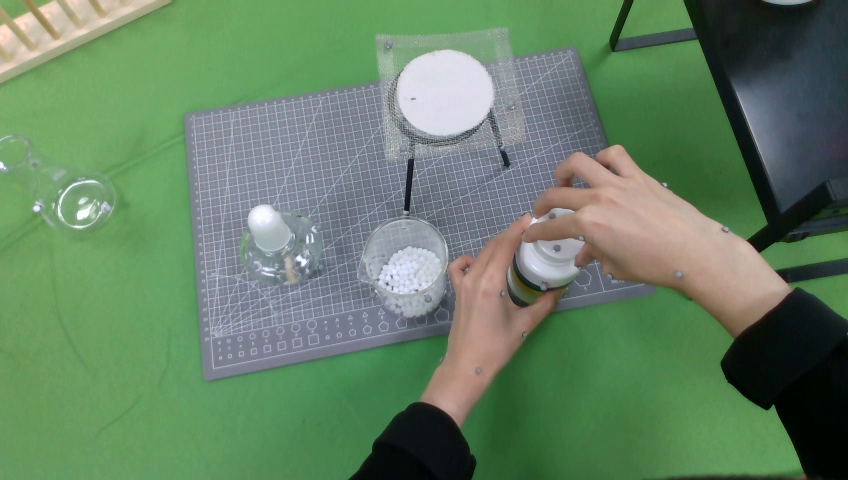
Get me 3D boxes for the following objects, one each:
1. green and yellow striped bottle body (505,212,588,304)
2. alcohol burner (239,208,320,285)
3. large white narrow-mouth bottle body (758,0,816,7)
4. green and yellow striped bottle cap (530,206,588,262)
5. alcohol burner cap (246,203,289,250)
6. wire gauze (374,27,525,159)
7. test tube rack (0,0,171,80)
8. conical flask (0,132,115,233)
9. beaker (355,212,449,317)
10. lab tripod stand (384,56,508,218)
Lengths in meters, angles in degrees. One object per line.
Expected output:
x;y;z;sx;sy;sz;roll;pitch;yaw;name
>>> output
0.112;0.015;0.556;0.063;0.120;0.063;0;71;1;green and yellow striped bottle body
-0.139;0.000;0.568;0.078;0.120;0.077;0;69;-1;alcohol burner
0.298;-0.268;0.425;0.102;0.196;0.101;0;69;1;large white narrow-mouth bottle body
0.111;-0.005;0.496;0.045;0.020;0.045;0;76;1;green and yellow striped bottle cap
-0.140;-0.015;0.534;0.034;0.048;0.033;1;64;-1;alcohol burner cap
0.021;-0.133;0.529;0.121;0.011;0.124;-5;71;-2;wire gauze
-0.426;-0.270;0.682;0.242;0.085;0.066;-30;73;-9;test tube rack
-0.365;-0.060;0.589;0.075;0.122;0.075;0;70;1;conical flask
-0.018;0.030;0.564;0.084;0.101;0.073;-22;71;-6;beaker
0.015;-0.104;0.591;0.148;0.132;0.147;0;69;0;lab tripod stand
